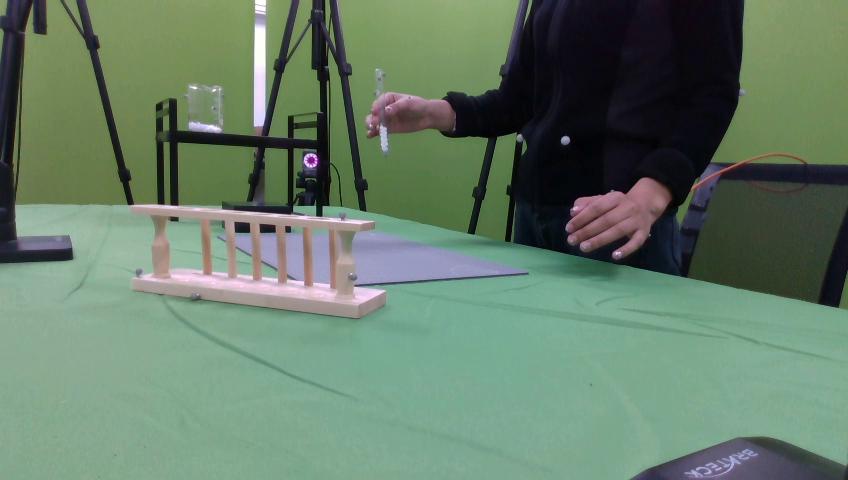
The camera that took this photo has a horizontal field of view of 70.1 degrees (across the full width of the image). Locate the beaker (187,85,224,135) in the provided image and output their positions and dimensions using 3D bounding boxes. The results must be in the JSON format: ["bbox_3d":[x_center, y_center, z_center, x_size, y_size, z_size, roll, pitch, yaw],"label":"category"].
[{"bbox_3d":[-0.466,-0.276,1.296,0.074,0.100,0.083,-3,10,-35],"label":"beaker"}]

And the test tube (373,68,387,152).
[{"bbox_3d":[-0.077,-0.227,1.058,0.017,0.150,0.017,-4,-7,0],"label":"test tube"}]

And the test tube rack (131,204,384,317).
[{"bbox_3d":[-0.162,0.013,0.589,0.242,0.085,0.067,5,8,17],"label":"test tube rack"}]
